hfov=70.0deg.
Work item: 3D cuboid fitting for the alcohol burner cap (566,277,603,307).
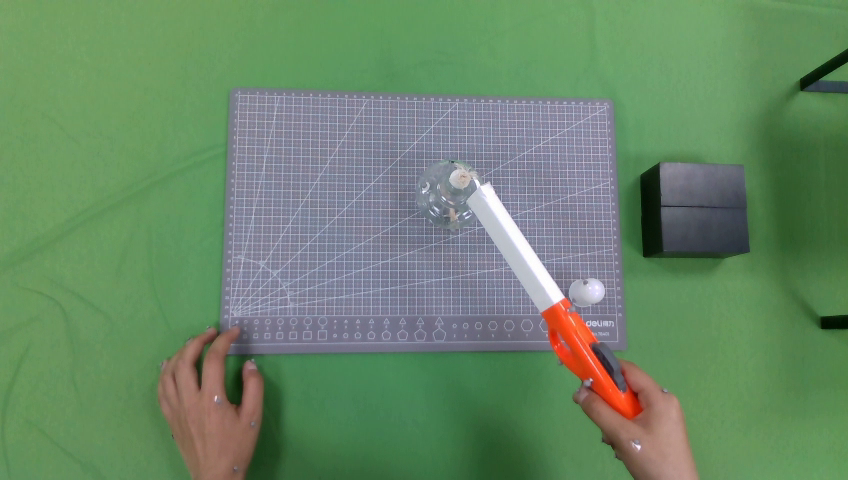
[{"bbox_3d":[0.180,0.056,0.674,0.034,0.048,0.033,1,80,-5],"label":"alcohol burner cap"}]

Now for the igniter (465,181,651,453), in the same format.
[{"bbox_3d":[0.120,0.068,0.551,0.025,0.057,0.275,-26,79,-33],"label":"igniter"}]

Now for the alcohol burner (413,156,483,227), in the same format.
[{"bbox_3d":[0.029,-0.055,0.640,0.078,0.119,0.077,1,81,-7],"label":"alcohol burner"}]
